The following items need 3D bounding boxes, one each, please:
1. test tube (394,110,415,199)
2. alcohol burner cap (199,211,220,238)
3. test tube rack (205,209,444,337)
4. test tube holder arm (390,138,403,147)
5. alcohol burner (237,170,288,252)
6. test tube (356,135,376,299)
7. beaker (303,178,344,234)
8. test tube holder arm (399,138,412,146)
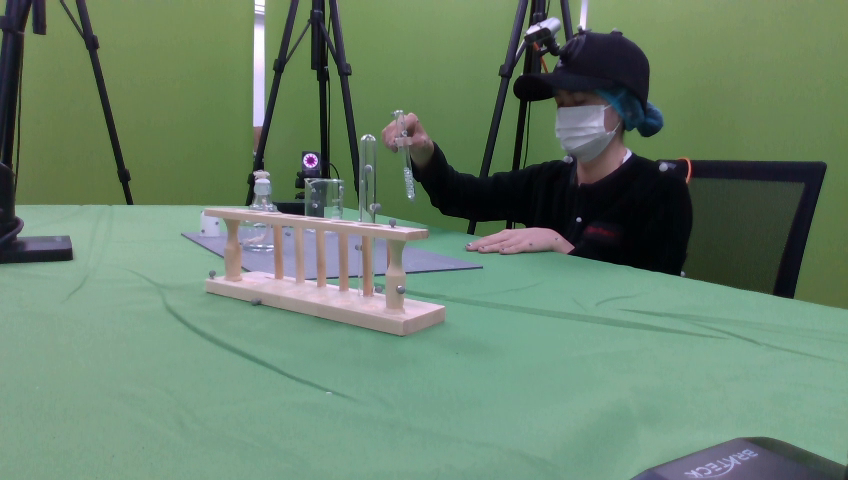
[{"bbox_3d":[-0.033,-0.144,1.021,0.017,0.150,0.017,-8,8,1],"label":"test tube"},{"bbox_3d":[-0.356,-0.027,1.002,0.034,0.048,0.034,2,7,0],"label":"alcohol burner cap"},{"bbox_3d":[-0.100,0.021,0.565,0.241,0.085,0.067,7,9,32],"label":"test tube rack"},{"bbox_3d":[-0.051,-0.175,1.084,0.013,0.015,0.178,-3,9,-9],"label":"test tube holder arm"},{"bbox_3d":[-0.236,-0.042,0.882,0.078,0.119,0.078,2,9,0],"label":"alcohol burner"},{"bbox_3d":[-0.053,-0.019,0.550,0.017,0.150,0.017,2,9,0],"label":"test tube"},{"bbox_3d":[-0.189,-0.063,1.119,0.073,0.100,0.084,6,9,28],"label":"beaker"},{"bbox_3d":[-0.037,-0.169,1.042,0.010,0.015,0.087,-5,10,-15],"label":"test tube holder arm"}]
